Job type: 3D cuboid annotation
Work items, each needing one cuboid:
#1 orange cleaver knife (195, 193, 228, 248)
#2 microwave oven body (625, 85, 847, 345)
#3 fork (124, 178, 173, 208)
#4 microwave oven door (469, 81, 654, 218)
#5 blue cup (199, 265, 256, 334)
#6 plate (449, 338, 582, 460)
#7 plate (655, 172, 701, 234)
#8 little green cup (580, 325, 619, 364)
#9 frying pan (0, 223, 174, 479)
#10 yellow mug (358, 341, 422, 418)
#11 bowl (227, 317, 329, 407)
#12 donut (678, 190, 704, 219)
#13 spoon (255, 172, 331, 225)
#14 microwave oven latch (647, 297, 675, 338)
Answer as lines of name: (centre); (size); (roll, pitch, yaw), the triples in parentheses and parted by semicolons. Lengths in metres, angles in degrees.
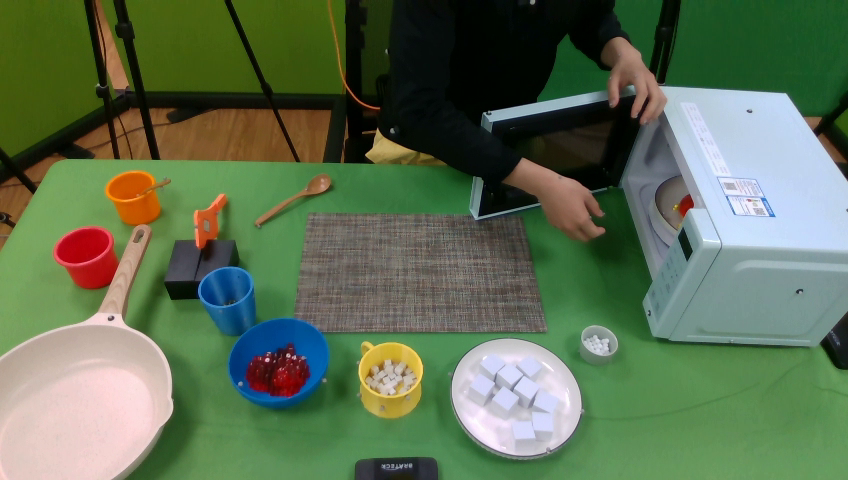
orange cleaver knife: (-0.406, -0.041, 1.163); (0.012, 0.077, 0.210); (0, 18, -3)
microwave oven body: (0.568, -0.054, 1.116); (0.326, 0.261, 0.439); (2, 46, -1)
fork: (-0.525, -0.090, 1.154); (0.207, 0.019, 0.028); (-17, 27, 45)
microwave oven door: (0.270, -0.180, 1.207); (0.356, 0.245, 0.039); (-14, 49, -16)
blue cup: (-0.321, 0.106, 1.014); (0.093, 0.101, 0.092); (2, 48, -2)
plate: (0.141, 0.251, 0.955); (0.208, 0.039, 0.206); (2, 46, -2)
plate: (0.555, -0.052, 1.186); (0.209, 0.038, 0.208); (2, 47, -2)
little green cup: (0.296, 0.180, 1.032); (0.061, 0.039, 0.061); (1, 44, -1)
frying pan: (-0.504, 0.169, 0.941); (0.307, 0.103, 0.485); (5, 54, -1)
yellow mug: (-0.063, 0.210, 0.960); (0.100, 0.064, 0.130); (-29, 54, -28)
bowl: (-0.222, 0.203, 0.947); (0.151, 0.077, 0.150); (2, 46, -2)
donut: (0.543, -0.060, 1.173); (0.099, 0.048, 0.098); (1, 44, 0)
spoon: (-0.272, -0.087, 1.257); (0.041, 0.022, 0.193); (44, 57, 14)
microwave oven latch: (0.413, 0.133, 1.060); (0.030, 0.029, 0.078); (5, 46, 2)
